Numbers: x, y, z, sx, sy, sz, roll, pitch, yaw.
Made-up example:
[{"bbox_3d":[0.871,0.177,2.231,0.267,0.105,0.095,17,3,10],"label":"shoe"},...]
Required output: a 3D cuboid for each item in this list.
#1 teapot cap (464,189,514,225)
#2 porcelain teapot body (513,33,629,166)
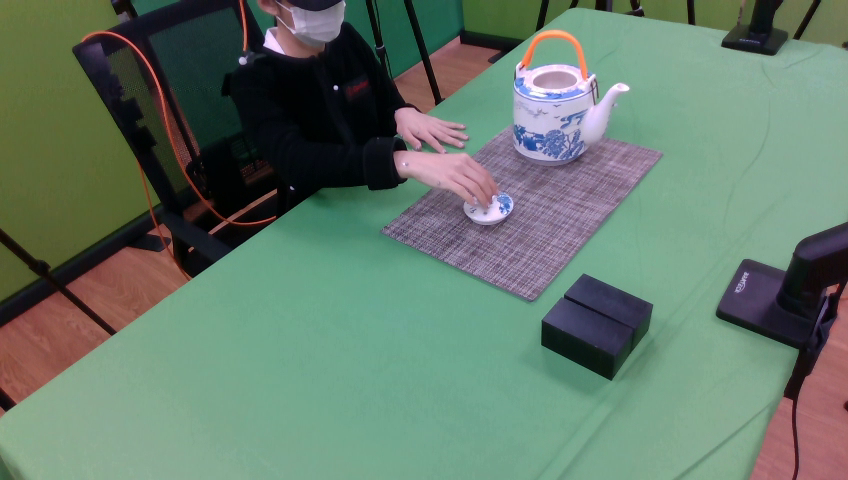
[{"bbox_3d":[0.108,-0.062,1.009,0.085,0.044,0.085,-1,38,1],"label":"teapot cap"},{"bbox_3d":[0.256,-0.248,1.065,0.204,0.226,0.145,18,47,28],"label":"porcelain teapot body"}]
